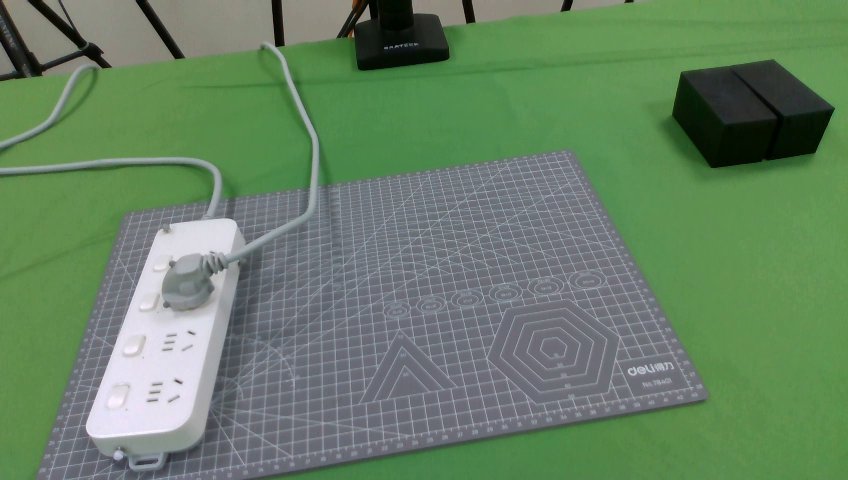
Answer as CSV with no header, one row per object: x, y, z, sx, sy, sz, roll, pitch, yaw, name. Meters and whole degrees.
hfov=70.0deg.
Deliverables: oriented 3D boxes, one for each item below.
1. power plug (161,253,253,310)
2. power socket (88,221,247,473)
-0.162,0.038,0.456,0.072,0.053,0.035,1,44,9,power plug
-0.188,0.064,0.466,0.072,0.033,0.224,-4,43,-1,power socket
